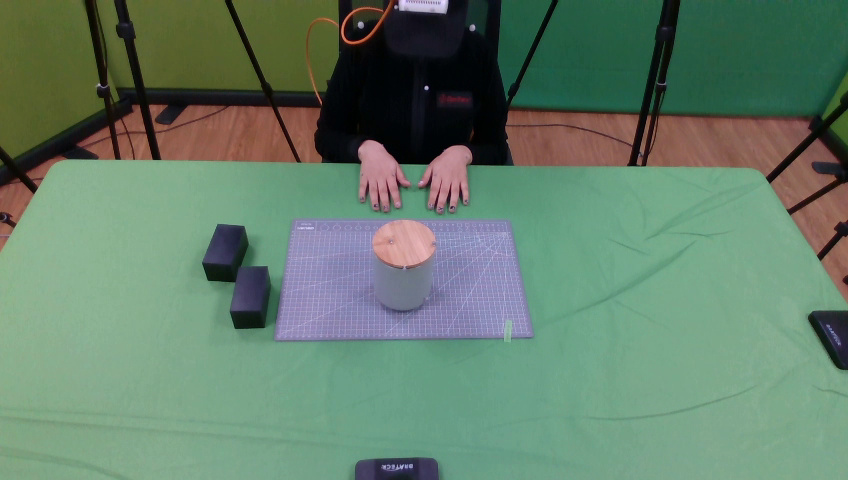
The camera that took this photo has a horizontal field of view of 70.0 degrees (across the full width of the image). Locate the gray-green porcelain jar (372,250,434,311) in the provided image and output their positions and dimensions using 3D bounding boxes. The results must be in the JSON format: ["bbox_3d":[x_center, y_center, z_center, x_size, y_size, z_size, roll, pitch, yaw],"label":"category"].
[{"bbox_3d":[-0.037,0.054,1.067,0.106,0.127,0.105,2,46,-2],"label":"gray-green porcelain jar"}]

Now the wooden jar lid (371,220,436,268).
[{"bbox_3d":[-0.034,0.009,1.020,0.108,0.021,0.107,2,47,-2],"label":"wooden jar lid"}]
